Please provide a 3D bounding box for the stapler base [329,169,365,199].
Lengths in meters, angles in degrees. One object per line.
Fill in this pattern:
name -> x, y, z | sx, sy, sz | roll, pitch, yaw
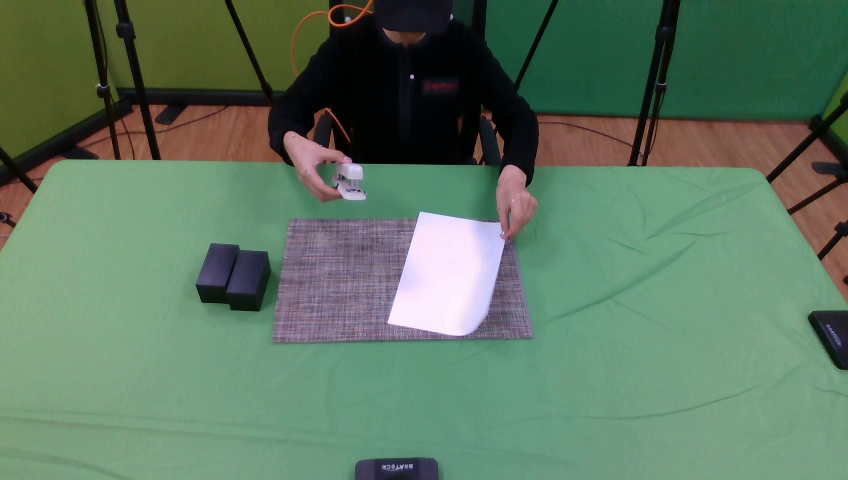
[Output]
stapler base -> -0.139, -0.107, 1.104 | 0.041, 0.024, 0.130 | 1, 22, -23

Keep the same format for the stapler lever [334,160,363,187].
stapler lever -> -0.137, -0.130, 1.096 | 0.027, 0.040, 0.117 | 1, 23, -23
